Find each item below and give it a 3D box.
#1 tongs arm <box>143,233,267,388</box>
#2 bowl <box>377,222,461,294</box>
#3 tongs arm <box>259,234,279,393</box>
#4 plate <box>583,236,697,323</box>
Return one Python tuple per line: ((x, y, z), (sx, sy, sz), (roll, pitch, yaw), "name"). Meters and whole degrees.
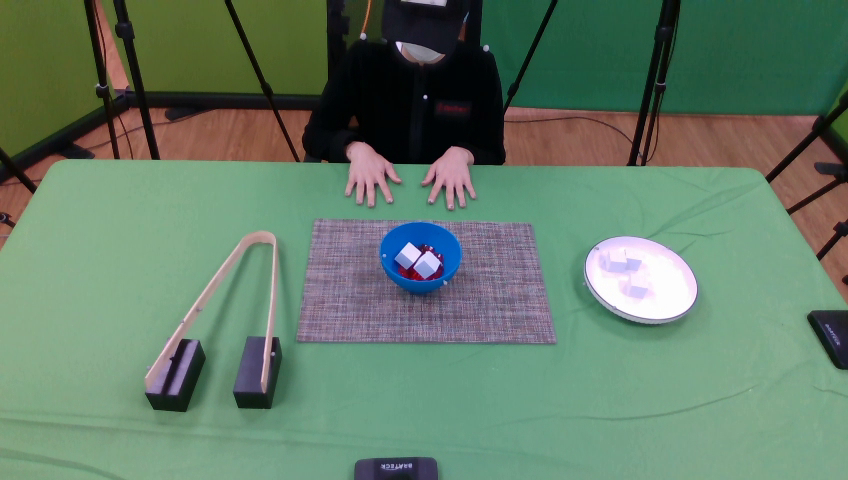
((-0.353, 0.101, 1.022), (0.051, 0.026, 0.383), (5, 34, 5), "tongs arm")
((-0.010, 0.045, 1.109), (0.151, 0.077, 0.150), (2, 46, -2), "bowl")
((-0.264, 0.105, 1.023), (0.028, 0.028, 0.385), (-7, 35, -6), "tongs arm")
((0.403, 0.078, 1.144), (0.209, 0.038, 0.208), (2, 45, -2), "plate")
